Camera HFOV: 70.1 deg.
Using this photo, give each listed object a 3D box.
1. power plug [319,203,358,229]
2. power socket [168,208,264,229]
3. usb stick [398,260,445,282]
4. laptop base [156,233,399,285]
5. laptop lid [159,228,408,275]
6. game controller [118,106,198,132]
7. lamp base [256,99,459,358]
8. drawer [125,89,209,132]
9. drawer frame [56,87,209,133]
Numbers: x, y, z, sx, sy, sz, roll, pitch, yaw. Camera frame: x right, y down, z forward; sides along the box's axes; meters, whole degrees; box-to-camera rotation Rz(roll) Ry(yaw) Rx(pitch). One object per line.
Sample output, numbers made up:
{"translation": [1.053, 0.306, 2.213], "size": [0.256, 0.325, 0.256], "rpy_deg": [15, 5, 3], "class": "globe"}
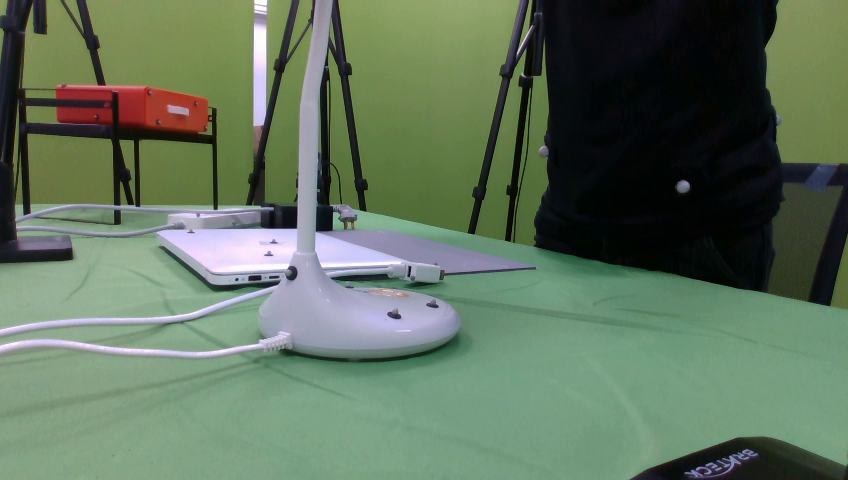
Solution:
{"translation": [-0.170, -0.046, 1.210], "size": [0.073, 0.052, 0.035], "rpy_deg": [-6, -16, -6], "class": "power plug"}
{"translation": [-0.381, -0.038, 1.128], "size": [0.072, 0.032, 0.227], "rpy_deg": [4, 8, 16], "class": "power socket"}
{"translation": [-0.001, 0.036, 0.696], "size": [0.027, 0.021, 0.059], "rpy_deg": [7, 0, 43], "class": "usb stick"}
{"translation": [-0.204, 0.019, 0.806], "size": [0.237, 0.023, 0.352], "rpy_deg": [0, 7, -33], "class": "laptop base"}
{"translation": [-0.201, 0.007, 0.806], "size": [0.243, 0.013, 0.355], "rpy_deg": [-1, 8, -31], "class": "laptop lid"}
{"translation": [-0.554, -0.252, 1.255], "size": [0.097, 0.051, 0.155], "rpy_deg": [7, 11, 19], "class": "game controller"}
{"translation": [-0.055, -0.013, 0.463], "size": [0.160, 0.180, 0.180], "rpy_deg": [6, 11, 27], "class": "lamp base"}
{"translation": [-0.595, -0.268, 1.263], "size": [0.211, 0.073, 0.195], "rpy_deg": [4, 8, 15], "class": "drawer"}
{"translation": [-0.598, -0.269, 1.261], "size": [0.213, 0.082, 0.202], "rpy_deg": [4, 8, 14], "class": "drawer frame"}
